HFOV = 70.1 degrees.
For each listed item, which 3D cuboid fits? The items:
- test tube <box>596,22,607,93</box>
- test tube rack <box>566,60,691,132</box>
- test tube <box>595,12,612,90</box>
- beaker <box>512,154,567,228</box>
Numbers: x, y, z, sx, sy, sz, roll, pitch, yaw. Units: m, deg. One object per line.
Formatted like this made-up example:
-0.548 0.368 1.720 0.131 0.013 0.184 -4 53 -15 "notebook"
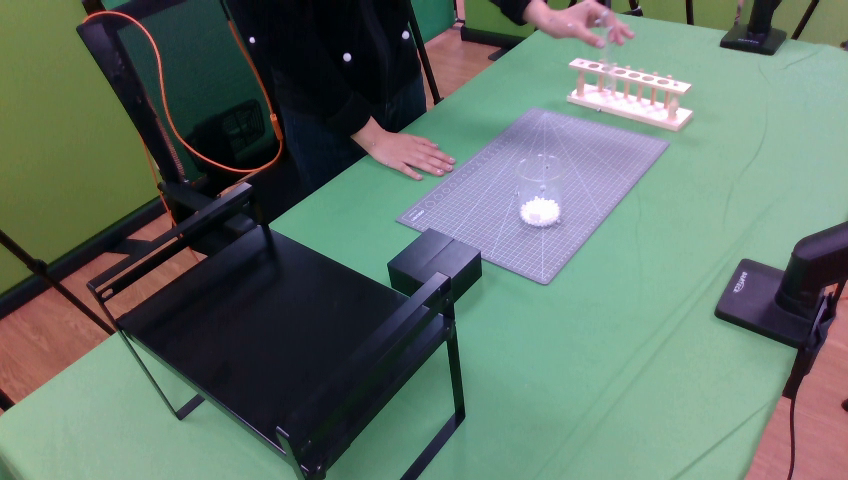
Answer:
0.363 -0.372 1.240 0.017 0.151 0.017 -6 40 5 "test tube"
0.411 -0.299 1.217 0.240 0.085 0.067 26 51 33 "test tube rack"
0.322 -0.335 1.082 0.017 0.151 0.017 -13 41 12 "test tube"
0.186 -0.076 0.973 0.084 0.101 0.074 1 41 11 "beaker"
